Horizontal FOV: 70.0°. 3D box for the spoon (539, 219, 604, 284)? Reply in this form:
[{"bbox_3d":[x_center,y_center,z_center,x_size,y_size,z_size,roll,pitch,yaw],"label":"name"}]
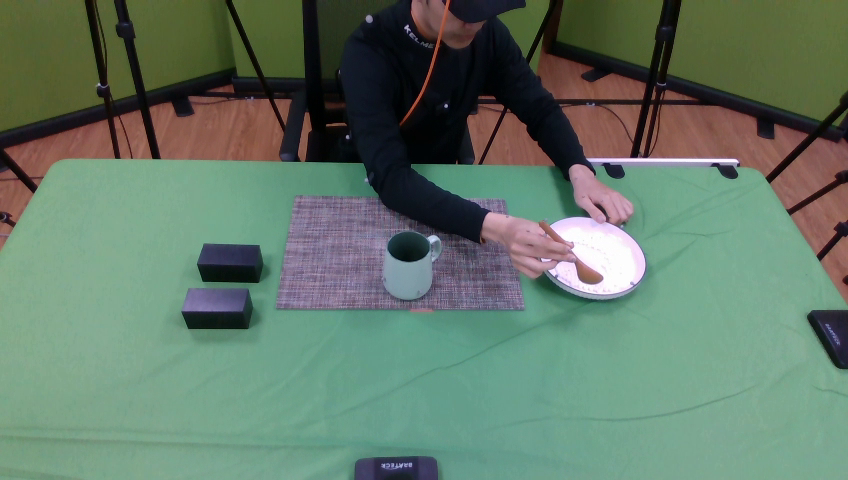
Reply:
[{"bbox_3d":[0.250,0.022,1.036,0.041,0.195,0.021,-20,38,38],"label":"spoon"}]

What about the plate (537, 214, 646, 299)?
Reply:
[{"bbox_3d":[0.321,0.035,1.176,0.209,0.038,0.208,2,47,-2],"label":"plate"}]

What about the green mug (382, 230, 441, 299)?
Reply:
[{"bbox_3d":[-0.017,0.037,1.097,0.125,0.105,0.092,-34,57,-30],"label":"green mug"}]
